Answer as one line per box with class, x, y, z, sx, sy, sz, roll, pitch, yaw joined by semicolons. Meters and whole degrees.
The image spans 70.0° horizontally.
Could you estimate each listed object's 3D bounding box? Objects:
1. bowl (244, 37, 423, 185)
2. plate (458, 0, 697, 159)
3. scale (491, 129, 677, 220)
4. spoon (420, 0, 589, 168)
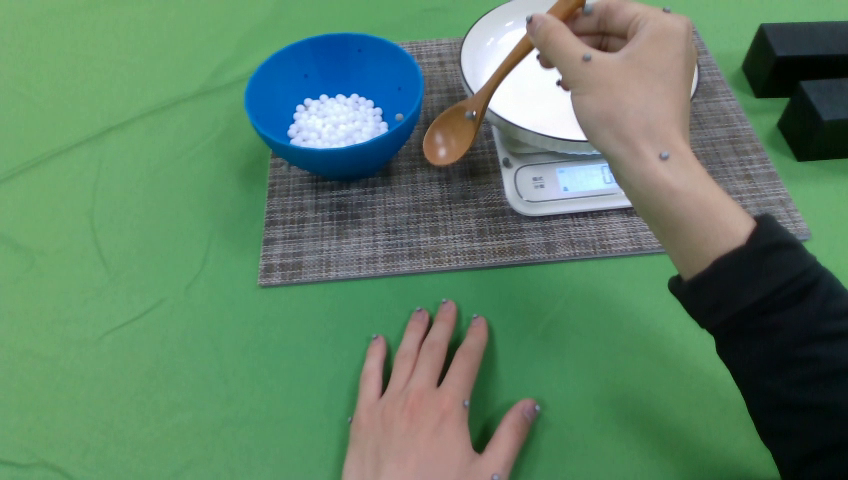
bowl;-0.074;-0.102;0.537;0.151;0.077;0.150;-1;54;2
plate;0.134;-0.145;0.546;0.209;0.038;0.207;-1;54;1
scale;0.136;-0.107;0.559;0.149;0.032;0.199;-5;54;-1
spoon;0.054;-0.111;0.413;0.022;0.194;0.041;-5;66;-36
